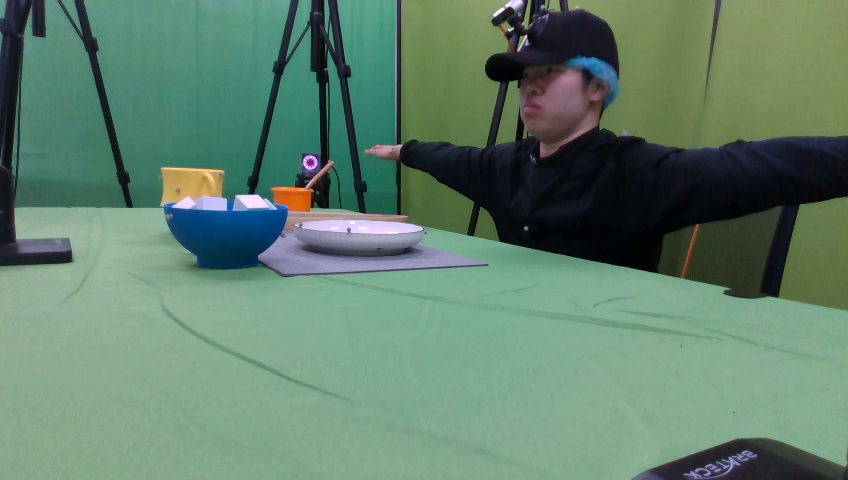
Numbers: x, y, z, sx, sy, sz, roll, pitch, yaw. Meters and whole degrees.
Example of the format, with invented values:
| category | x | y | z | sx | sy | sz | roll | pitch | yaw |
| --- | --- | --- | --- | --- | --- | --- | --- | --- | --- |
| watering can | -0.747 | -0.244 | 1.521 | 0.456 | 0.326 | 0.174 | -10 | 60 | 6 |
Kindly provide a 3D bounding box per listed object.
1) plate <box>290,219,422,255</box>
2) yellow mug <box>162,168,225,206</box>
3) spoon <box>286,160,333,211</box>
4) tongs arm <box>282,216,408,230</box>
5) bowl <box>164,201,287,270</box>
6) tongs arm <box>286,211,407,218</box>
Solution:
| category | x | y | z | sx | sy | sz | roll | pitch | yaw |
| --- | --- | --- | --- | --- | --- | --- | --- | --- | --- |
| plate | -0.108 | -0.005 | 0.963 | 0.208 | 0.039 | 0.207 | 3 | 7 | 0 |
| yellow mug | -0.383 | -0.087 | 1.026 | 0.130 | 0.064 | 0.100 | 11 | 11 | 44 |
| spoon | -0.262 | -0.115 | 1.359 | 0.041 | 0.194 | 0.022 | 12 | -33 | 38 |
| tongs arm | -0.181 | -0.034 | 1.200 | 0.390 | 0.028 | 0.028 | -2 | 4 | -39 |
| bowl | -0.254 | -0.006 | 0.782 | 0.151 | 0.077 | 0.151 | 2 | 8 | 0 |
| tongs arm | -0.222 | -0.045 | 1.271 | 0.387 | 0.026 | 0.050 | 1 | 6 | -25 |
